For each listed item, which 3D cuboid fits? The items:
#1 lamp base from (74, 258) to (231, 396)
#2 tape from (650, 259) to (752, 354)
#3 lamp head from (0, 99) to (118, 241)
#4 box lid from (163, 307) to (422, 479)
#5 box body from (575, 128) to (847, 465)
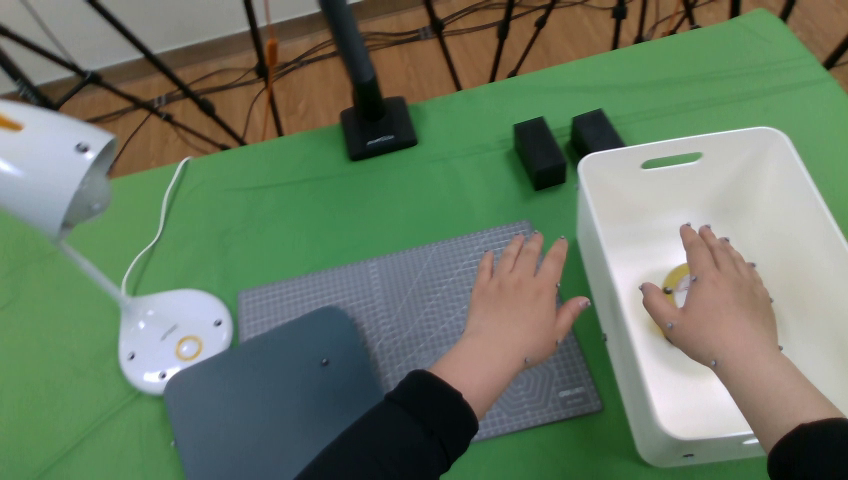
[{"bbox_3d":[-0.373,0.097,0.796,0.178,0.182,0.160,19,62,22],"label":"lamp base"},{"bbox_3d":[0.349,0.083,0.768,0.117,0.053,0.116,-4,57,6],"label":"tape"},{"bbox_3d":[-0.361,-0.071,0.548,0.123,0.112,0.111,25,59,-16],"label":"lamp head"},{"bbox_3d":[-0.158,0.273,0.744,0.263,0.015,0.367,-25,60,-10],"label":"box lid"},{"bbox_3d":[0.338,0.065,0.722,0.254,0.162,0.360,-9,57,3],"label":"box body"}]
